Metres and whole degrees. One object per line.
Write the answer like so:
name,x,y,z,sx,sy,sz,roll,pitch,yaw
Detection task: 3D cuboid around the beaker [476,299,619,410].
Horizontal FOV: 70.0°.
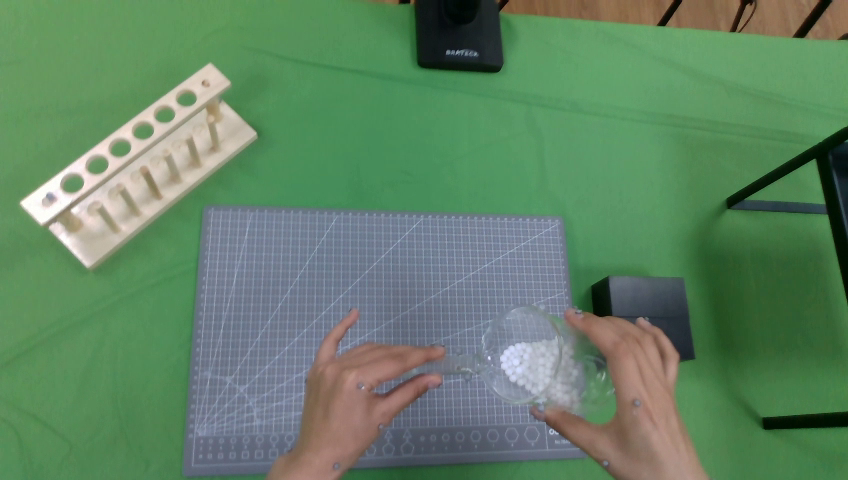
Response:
beaker,0.101,0.096,0.481,0.101,0.084,0.073,23,54,-42

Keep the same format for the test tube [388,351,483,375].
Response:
test tube,0.005,0.110,0.538,0.017,0.150,0.017,8,74,-28

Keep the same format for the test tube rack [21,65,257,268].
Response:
test tube rack,-0.304,-0.083,0.678,0.066,0.085,0.242,43,70,5
